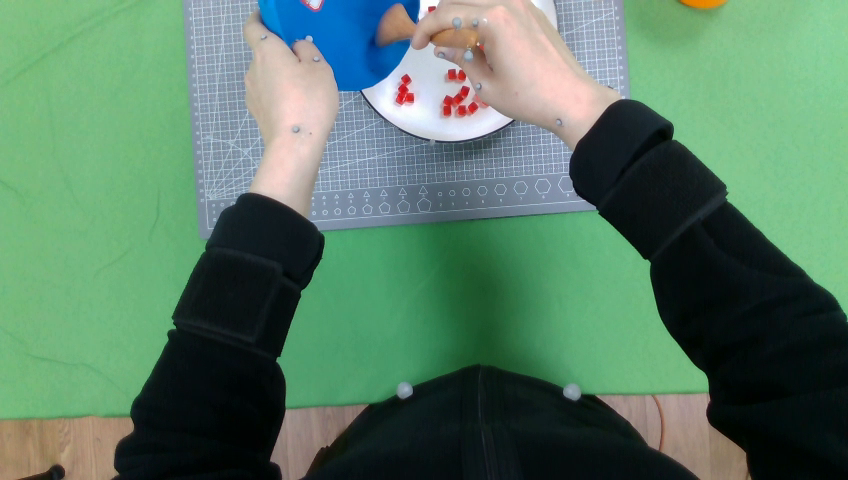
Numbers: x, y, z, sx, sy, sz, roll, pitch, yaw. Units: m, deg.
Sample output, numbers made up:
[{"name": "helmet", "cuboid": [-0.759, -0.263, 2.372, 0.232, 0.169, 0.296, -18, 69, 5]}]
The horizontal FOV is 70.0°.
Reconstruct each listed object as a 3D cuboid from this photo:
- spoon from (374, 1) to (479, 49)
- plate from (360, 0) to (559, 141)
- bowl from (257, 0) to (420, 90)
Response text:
[{"name": "spoon", "cuboid": [-0.002, -0.159, 0.458, 0.022, 0.191, 0.041, 25, 99, -33]}, {"name": "plate", "cuboid": [0.027, -0.201, 0.601, 0.209, 0.038, 0.209, 0, 90, 3]}, {"name": "bowl", "cuboid": [-0.083, -0.207, 0.504, 0.076, 0.153, 0.151, 24, 91, 39]}]
